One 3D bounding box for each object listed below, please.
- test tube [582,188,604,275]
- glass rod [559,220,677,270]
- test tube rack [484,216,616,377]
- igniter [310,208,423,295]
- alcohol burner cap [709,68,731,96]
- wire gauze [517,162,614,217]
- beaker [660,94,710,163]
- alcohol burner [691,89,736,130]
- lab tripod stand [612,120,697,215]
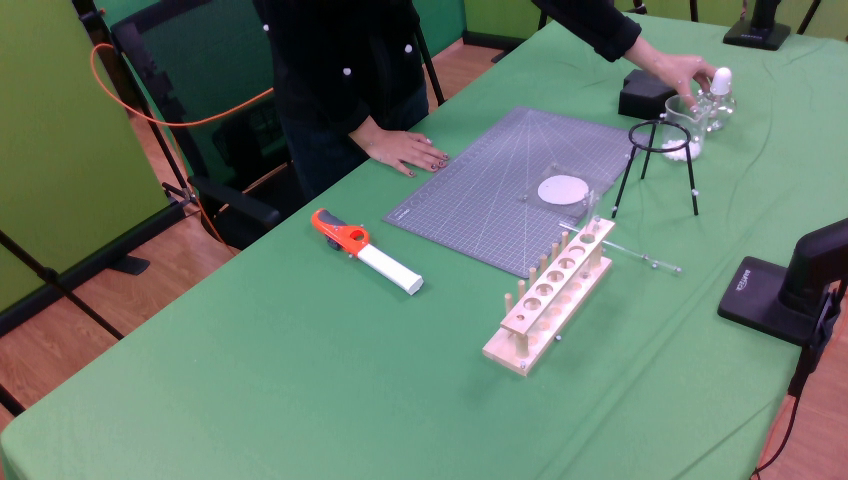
[{"bbox_3d":[0.228,-0.007,0.821,0.017,0.151,0.017,-3,42,3],"label":"test tube"},{"bbox_3d":[0.292,0.007,0.927,0.198,0.008,0.008,26,52,36],"label":"glass rod"},{"bbox_3d":[0.174,0.065,0.823,0.066,0.085,0.243,23,49,33],"label":"test tube rack"},{"bbox_3d":[-0.103,0.012,0.982,0.057,0.025,0.274,-42,49,-20],"label":"igniter"},{"bbox_3d":[0.534,-0.286,1.086,0.034,0.048,0.033,-6,50,8],"label":"alcohol burner cap"},{"bbox_3d":[0.245,-0.088,1.046,0.120,0.011,0.125,25,50,32],"label":"wire gauze"},{"bbox_3d":[0.457,-0.192,1.063,0.074,0.101,0.083,-7,41,4],"label":"beaker"},{"bbox_3d":[0.538,-0.263,1.114,0.078,0.119,0.077,-3,49,4],"label":"alcohol burner"},{"bbox_3d":[0.369,-0.112,0.958,0.148,0.132,0.147,-4,40,4],"label":"lab tripod stand"}]
